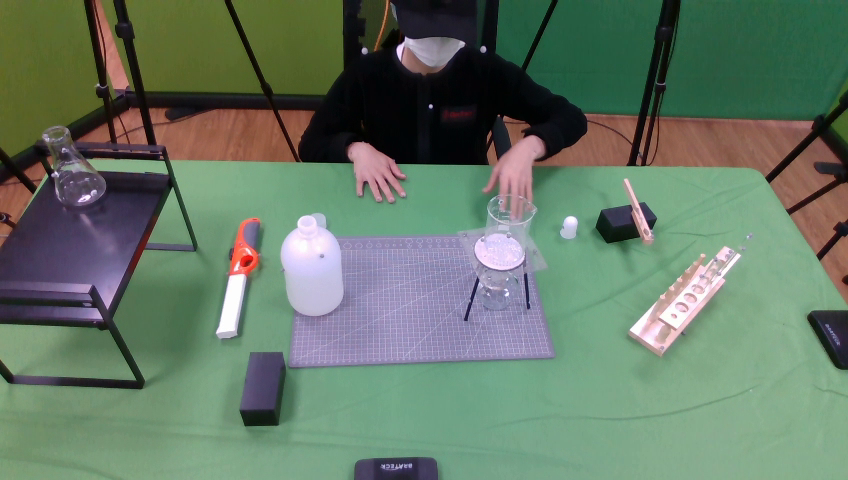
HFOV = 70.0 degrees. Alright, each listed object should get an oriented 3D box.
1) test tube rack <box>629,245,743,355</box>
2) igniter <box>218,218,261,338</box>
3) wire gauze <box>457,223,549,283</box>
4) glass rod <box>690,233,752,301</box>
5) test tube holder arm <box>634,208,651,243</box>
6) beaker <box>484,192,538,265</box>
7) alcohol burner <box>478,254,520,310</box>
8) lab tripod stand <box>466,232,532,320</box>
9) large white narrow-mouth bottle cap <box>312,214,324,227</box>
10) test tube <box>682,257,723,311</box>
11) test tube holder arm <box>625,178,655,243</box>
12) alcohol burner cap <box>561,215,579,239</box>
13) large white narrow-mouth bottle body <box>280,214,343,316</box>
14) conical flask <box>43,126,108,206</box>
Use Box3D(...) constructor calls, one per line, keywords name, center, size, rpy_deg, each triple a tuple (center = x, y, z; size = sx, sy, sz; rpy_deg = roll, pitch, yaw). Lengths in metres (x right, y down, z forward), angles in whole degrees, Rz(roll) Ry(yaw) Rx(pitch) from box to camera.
Box3D(name="test tube rack", center=(0.474, 0.095, 1.091), size=(0.242, 0.085, 0.066), rpy_deg=(-34, 56, -31))
Box3D(name="igniter", center=(-0.336, 0.060, 1.111), size=(0.057, 0.025, 0.274), rpy_deg=(-7, 46, 4))
Box3D(name="wire gauze", center=(0.131, 0.016, 1.017), size=(0.121, 0.011, 0.124), rpy_deg=(-10, 44, -16))
Box3D(name="glass rod", center=(0.507, 0.053, 1.041), size=(0.008, 0.200, 0.008), rpy_deg=(5, 51, -6))
Box3D(name="test tube holder arm", center=(0.428, -0.030, 1.189), size=(0.010, 0.015, 0.087), rpy_deg=(1, 47, -2))
Box3D(name="beaker", center=(0.137, -0.016, 0.980), size=(0.084, 0.101, 0.073), rpy_deg=(-6, 45, -9))
Box3D(name="alcohol burner", center=(0.134, 0.068, 1.071), size=(0.078, 0.120, 0.077), rpy_deg=(0, 47, 0))
Box3D(name="lab tripod stand", center=(0.125, 0.059, 1.065), size=(0.148, 0.132, 0.147), rpy_deg=(1, 45, 0))
Box3D(name="large white narrow-mouth bottle cap", center=(-0.219, -0.033, 1.214), size=(0.038, 0.024, 0.037), rpy_deg=(2, 46, -2))
Box3D(name="test tube", center=(0.474, 0.080, 1.037), size=(0.017, 0.151, 0.017), rpy_deg=(1, 50, -1))
Box3D(name="test tube holder arm", center=(0.433, -0.062, 1.220), size=(0.013, 0.015, 0.177), rpy_deg=(1, 47, -3))
Box3D(name="alcohol burner cap", center=(0.299, -0.030, 1.231), size=(0.034, 0.048, 0.033), rpy_deg=(0, 47, 0))
Box3D(name="large white narrow-mouth bottle body", center=(-0.190, 0.035, 1.025), size=(0.102, 0.195, 0.101), rpy_deg=(2, 46, -2))
Box3D(name="conical flask", center=(-0.555, -0.119, 0.953), size=(0.075, 0.122, 0.075), rpy_deg=(2, 46, -2))
